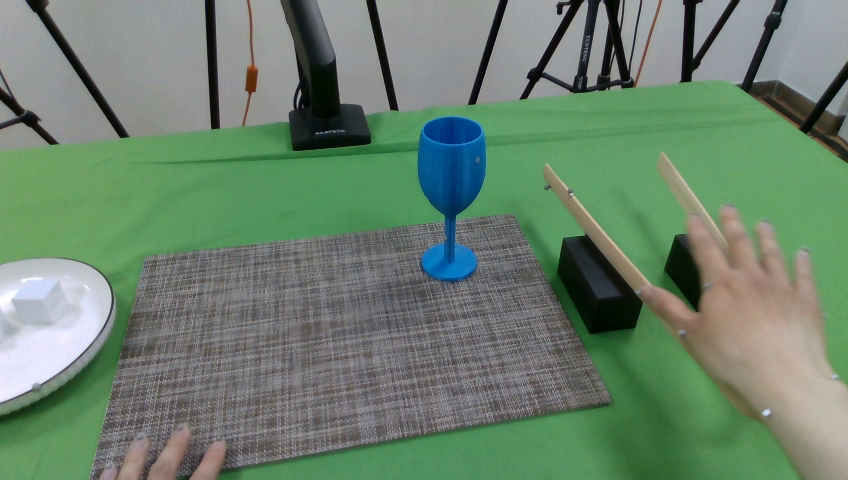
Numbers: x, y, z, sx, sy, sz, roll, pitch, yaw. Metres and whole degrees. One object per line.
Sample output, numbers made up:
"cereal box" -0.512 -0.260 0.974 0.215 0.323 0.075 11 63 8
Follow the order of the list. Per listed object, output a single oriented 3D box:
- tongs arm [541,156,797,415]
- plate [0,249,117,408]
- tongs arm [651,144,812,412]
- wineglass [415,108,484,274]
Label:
"tongs arm" 0.219 0.018 0.615 0.051 0.027 0.380 -8 40 -13
"plate" -0.409 0.088 0.592 0.209 0.038 0.207 0 39 0
"tongs arm" 0.299 0.008 0.628 0.028 0.028 0.383 3 39 -5
"wineglass" 0.026 -0.049 0.649 0.074 0.174 0.073 0 39 0
